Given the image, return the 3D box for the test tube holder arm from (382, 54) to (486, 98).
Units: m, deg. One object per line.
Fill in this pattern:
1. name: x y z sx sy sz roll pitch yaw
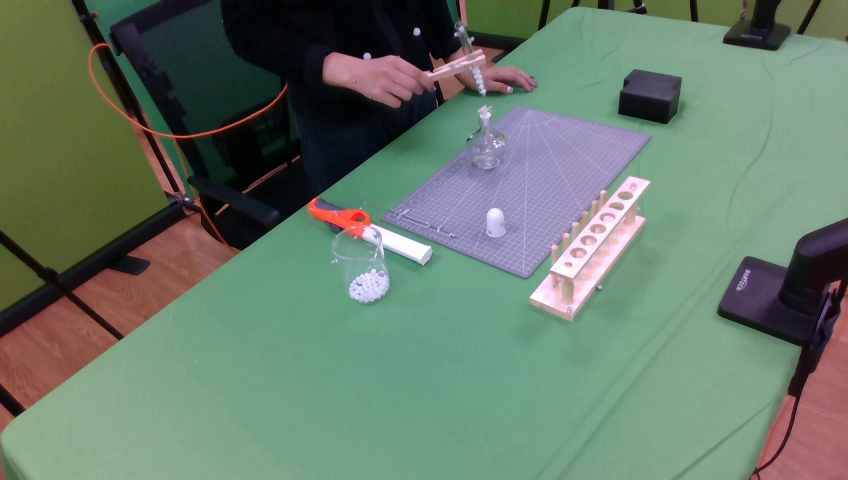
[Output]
1. test tube holder arm: 0.016 -0.271 0.998 0.178 0.015 0.013 -19 51 4

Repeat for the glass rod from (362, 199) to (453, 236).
1. glass rod: -0.031 -0.041 1.041 0.198 0.008 0.008 22 50 31

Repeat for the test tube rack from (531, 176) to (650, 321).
1. test tube rack: 0.246 0.002 0.884 0.066 0.085 0.243 22 49 32

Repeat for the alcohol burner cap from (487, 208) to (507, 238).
1. alcohol burner cap: 0.116 -0.030 0.975 0.034 0.048 0.033 -6 40 5

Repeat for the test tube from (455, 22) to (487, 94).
1. test tube: 0.079 -0.296 0.995 0.017 0.151 0.017 -10 57 16

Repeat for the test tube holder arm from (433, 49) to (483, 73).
1. test tube holder arm: 0.056 -0.291 0.999 0.088 0.015 0.010 -24 51 0

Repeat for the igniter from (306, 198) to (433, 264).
1. igniter: -0.102 -0.020 1.019 0.274 0.025 0.057 22 59 32

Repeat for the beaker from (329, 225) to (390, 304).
1. beaker: -0.089 0.040 0.890 0.074 0.101 0.083 -32 46 -24

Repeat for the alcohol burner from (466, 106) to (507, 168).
1. alcohol burner: 0.114 -0.193 1.112 0.078 0.119 0.077 -4 41 4
